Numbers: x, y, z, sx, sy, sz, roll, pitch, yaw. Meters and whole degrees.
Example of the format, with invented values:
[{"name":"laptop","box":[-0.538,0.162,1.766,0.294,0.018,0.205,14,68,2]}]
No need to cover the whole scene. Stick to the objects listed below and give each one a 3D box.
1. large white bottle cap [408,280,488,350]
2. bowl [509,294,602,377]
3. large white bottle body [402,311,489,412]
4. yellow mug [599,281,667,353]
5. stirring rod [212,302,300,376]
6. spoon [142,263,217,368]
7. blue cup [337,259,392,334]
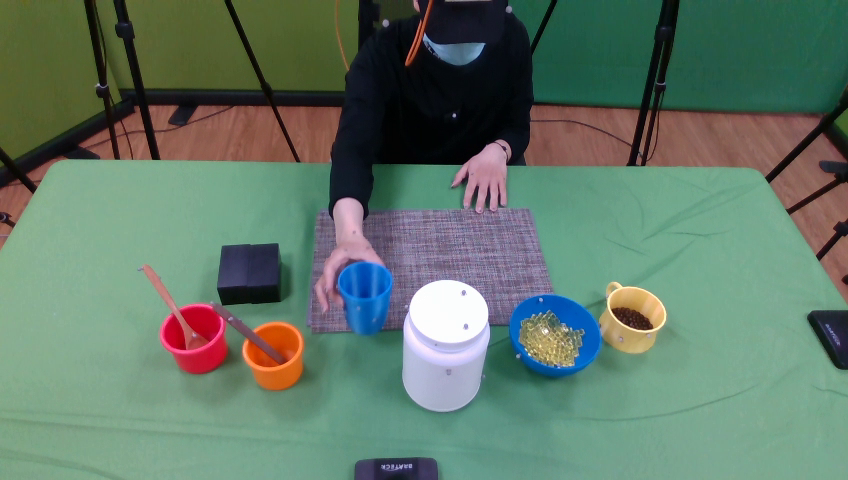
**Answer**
[{"name":"large white bottle cap","box":[0.034,0.105,0.867,0.115,0.018,0.114,2,46,-1]},{"name":"bowl","box":[0.211,0.172,1.007,0.151,0.077,0.150,2,46,-2]},{"name":"large white bottle body","box":[0.031,0.163,0.928,0.131,0.185,0.130,2,46,-1]},{"name":"yellow mug","box":[0.359,0.127,1.069,0.100,0.064,0.130,-12,47,-14]},{"name":"stirring rod","box":[-0.261,0.156,0.948,0.177,0.006,0.014,45,45,-20]},{"name":"spoon","box":[-0.392,0.120,0.968,0.041,0.021,0.194,-33,100,-30]},{"name":"blue cup","box":[-0.094,0.095,0.964,0.093,0.101,0.092,3,42,-2]}]
